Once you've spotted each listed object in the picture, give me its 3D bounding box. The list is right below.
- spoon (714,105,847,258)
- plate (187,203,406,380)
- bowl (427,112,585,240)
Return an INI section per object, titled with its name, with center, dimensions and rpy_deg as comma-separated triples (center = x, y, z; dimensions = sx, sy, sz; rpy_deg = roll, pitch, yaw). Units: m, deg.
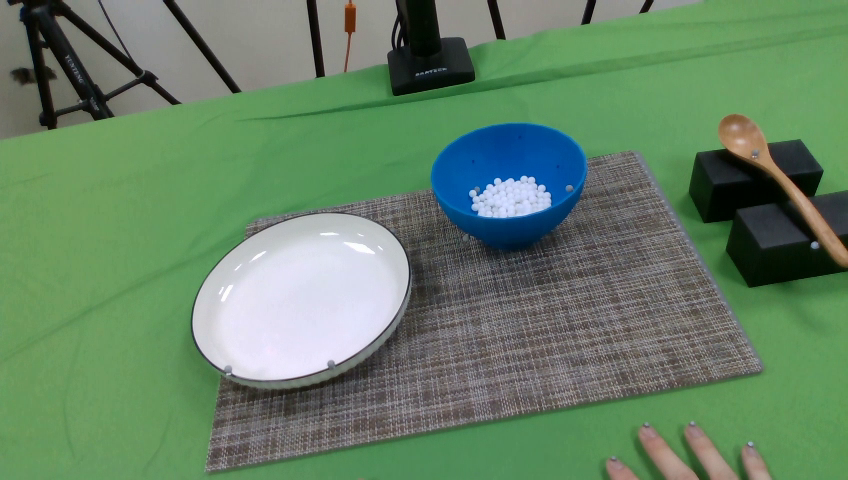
[spoon]
center = 0.315, -0.059, 0.538
dimensions = 0.041, 0.022, 0.191
rpy_deg = -12, 46, 0
[plate]
center = -0.117, 0.048, 0.579
dimensions = 0.207, 0.039, 0.205
rpy_deg = -6, 45, 6
[bowl]
center = 0.082, -0.053, 0.606
dimensions = 0.151, 0.077, 0.150
rpy_deg = -6, 45, 6
